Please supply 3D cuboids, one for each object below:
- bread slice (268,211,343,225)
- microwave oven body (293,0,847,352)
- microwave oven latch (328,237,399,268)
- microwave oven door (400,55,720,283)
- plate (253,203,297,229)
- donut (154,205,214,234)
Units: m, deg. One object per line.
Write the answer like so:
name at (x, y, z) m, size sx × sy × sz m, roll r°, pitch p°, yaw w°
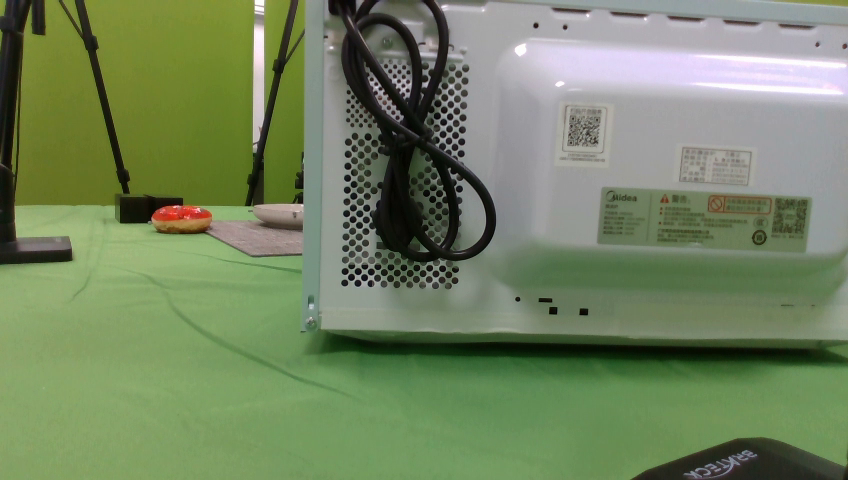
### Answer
bread slice at (-0.244, -0.046, 1.220) m, size 0.104 × 0.019 × 0.132 m, roll 7°, pitch 8°, yaw 36°
microwave oven body at (0.122, -0.055, 0.550) m, size 0.442 × 0.260 × 0.325 m, roll 3°, pitch 7°, yaw -4°
microwave oven latch at (-0.069, 0.014, 0.694) m, size 0.079 × 0.029 × 0.030 m, roll 3°, pitch 7°, yaw -3°
microwave oven door at (0.155, -0.078, 0.697) m, size 0.356 × 0.243 × 0.039 m, roll 2°, pitch 8°, yaw -5°
plate at (-0.238, -0.048, 1.226) m, size 0.208 × 0.039 × 0.207 m, roll 3°, pitch 7°, yaw 0°
donut at (-0.426, -0.037, 1.075) m, size 0.099 × 0.048 × 0.099 m, roll 2°, pitch 12°, yaw 0°
